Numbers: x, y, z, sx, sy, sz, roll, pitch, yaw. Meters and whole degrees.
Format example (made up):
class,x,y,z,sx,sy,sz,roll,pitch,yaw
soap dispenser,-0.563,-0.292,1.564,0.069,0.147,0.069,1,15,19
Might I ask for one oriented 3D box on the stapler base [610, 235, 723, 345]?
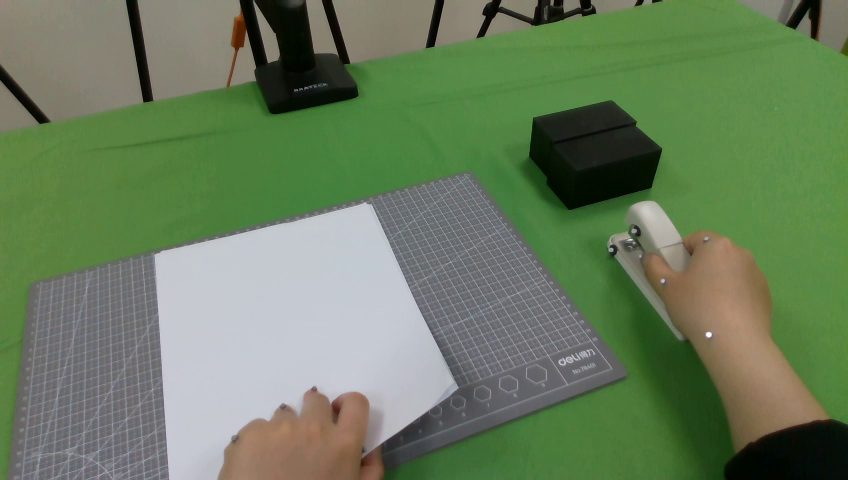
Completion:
class,x,y,z,sx,sy,sz,roll,pitch,yaw
stapler base,0.214,0.034,0.541,0.041,0.024,0.129,-14,46,-11

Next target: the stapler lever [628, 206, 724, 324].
class,x,y,z,sx,sy,sz,roll,pitch,yaw
stapler lever,0.215,0.017,0.522,0.027,0.040,0.116,-14,46,-10
